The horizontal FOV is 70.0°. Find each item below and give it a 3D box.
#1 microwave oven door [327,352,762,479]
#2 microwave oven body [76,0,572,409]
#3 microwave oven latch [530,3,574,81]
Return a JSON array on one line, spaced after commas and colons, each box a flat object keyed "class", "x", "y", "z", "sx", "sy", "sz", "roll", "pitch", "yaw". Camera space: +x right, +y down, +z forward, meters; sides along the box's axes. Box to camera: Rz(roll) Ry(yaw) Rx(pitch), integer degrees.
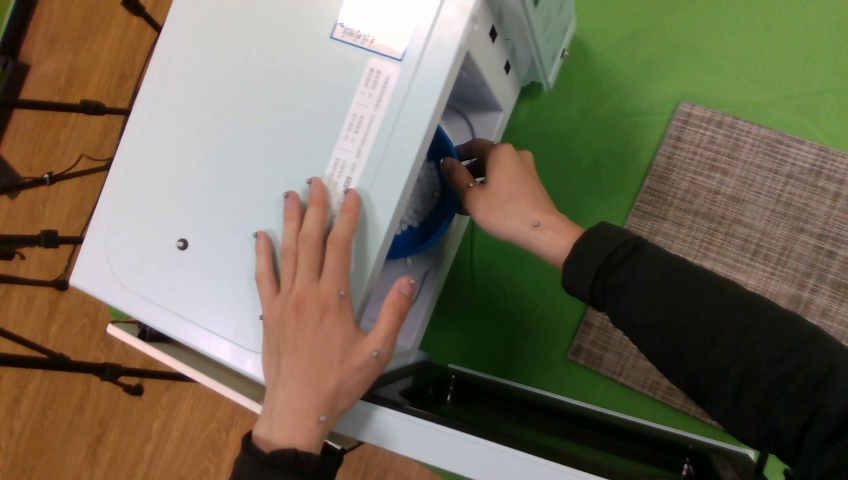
[{"class": "microwave oven door", "x": 0.124, "y": 0.172, "z": 0.529, "sx": 0.354, "sy": 0.245, "sz": 0.039, "roll": 12, "pitch": 89, "yaw": 18}, {"class": "microwave oven body", "x": -0.085, "y": -0.110, "z": 0.616, "sx": 0.324, "sy": 0.261, "sz": 0.441, "roll": 21, "pitch": 93, "yaw": 17}, {"class": "microwave oven latch", "x": 0.138, "y": -0.216, "z": 0.656, "sx": 0.030, "sy": 0.029, "sz": 0.079, "roll": 22, "pitch": 94, "yaw": 17}]
